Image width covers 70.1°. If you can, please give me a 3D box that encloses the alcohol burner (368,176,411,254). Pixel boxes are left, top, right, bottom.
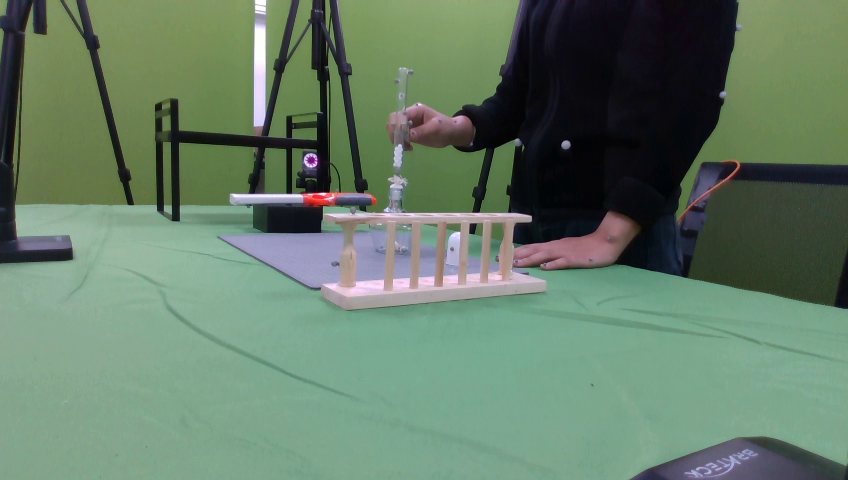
[{"bbox_3d":[-0.045,-0.038,0.912,0.078,0.119,0.078,4,7,0],"label":"alcohol burner"}]

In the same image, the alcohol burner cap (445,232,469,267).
[{"bbox_3d":[0.045,0.012,0.829,0.034,0.048,0.034,2,8,0],"label":"alcohol burner cap"}]

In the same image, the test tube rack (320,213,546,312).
[{"bbox_3d":[0.018,0.017,0.638,0.244,0.085,0.066,-2,9,-31],"label":"test tube rack"}]

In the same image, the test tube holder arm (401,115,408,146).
[{"bbox_3d":[-0.031,-0.171,0.965,0.013,0.015,0.178,-2,-2,0],"label":"test tube holder arm"}]

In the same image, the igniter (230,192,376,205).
[{"bbox_3d":[-0.226,-0.079,1.161,0.278,0.025,0.057,-2,15,-28],"label":"igniter"}]

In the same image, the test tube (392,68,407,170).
[{"bbox_3d":[-0.036,-0.180,0.898,0.017,0.150,0.017,3,1,0],"label":"test tube"}]

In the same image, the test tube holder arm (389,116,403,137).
[{"bbox_3d":[-0.039,-0.172,0.921,0.010,0.015,0.088,-3,-2,9],"label":"test tube holder arm"}]
